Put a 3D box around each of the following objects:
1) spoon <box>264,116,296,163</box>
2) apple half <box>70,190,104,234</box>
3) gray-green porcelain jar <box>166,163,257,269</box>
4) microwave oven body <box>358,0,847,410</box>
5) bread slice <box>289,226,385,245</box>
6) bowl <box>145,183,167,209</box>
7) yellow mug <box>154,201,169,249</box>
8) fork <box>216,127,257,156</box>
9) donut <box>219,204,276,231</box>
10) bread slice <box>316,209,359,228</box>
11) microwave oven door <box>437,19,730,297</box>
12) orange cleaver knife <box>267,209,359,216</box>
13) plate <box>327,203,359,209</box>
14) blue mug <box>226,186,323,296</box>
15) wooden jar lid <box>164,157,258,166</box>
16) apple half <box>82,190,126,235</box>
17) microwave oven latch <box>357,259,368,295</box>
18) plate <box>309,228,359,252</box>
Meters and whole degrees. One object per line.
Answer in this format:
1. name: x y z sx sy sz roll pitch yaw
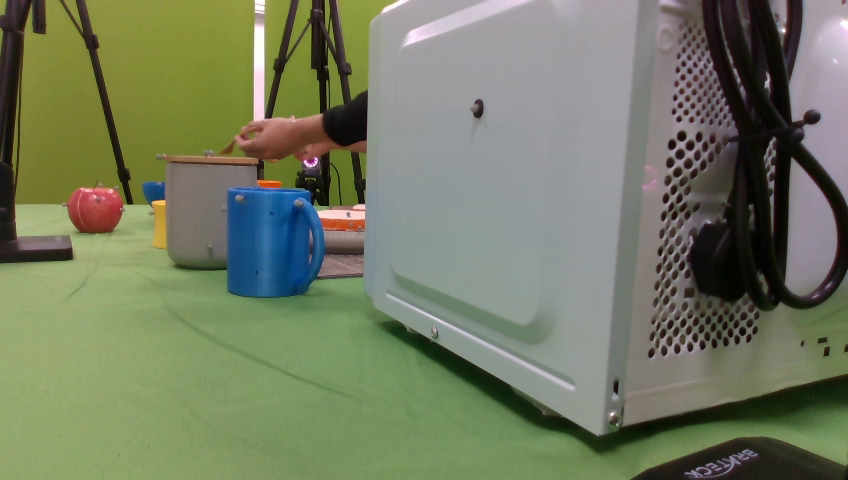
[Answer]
1. spoon: -0.342 -0.247 1.468 0.041 0.021 0.193 11 49 3
2. apple half: -0.552 -0.047 1.009 0.053 0.074 0.081 0 9 26
3. gray-green porcelain jar: -0.263 -0.031 0.754 0.106 0.126 0.106 2 7 0
4. microwave oven body: 0.210 -0.051 0.471 0.444 0.260 0.324 -1 7 -28
5. bread slice: -0.125 -0.008 0.938 0.131 0.019 0.105 5 8 31
6. bowl: -0.459 -0.068 1.175 0.151 0.077 0.151 3 8 0
7. yellow mug: -0.338 -0.022 0.899 0.130 0.064 0.100 8 9 34
8. fork: -0.393 -0.204 1.267 0.028 0.018 0.206 -6 -8 -38
9. donut: -0.315 -0.039 1.083 0.099 0.048 0.099 3 7 0
10. bread slice: -0.126 -0.034 0.934 0.134 0.018 0.107 3 10 28
11. microwave oven door: 0.180 -0.076 0.618 0.358 0.243 0.039 -2 9 -28
12. orange cleaver knife: -0.259 -0.064 1.423 0.212 0.012 0.077 -4 3 -30
13. plate: -0.102 -0.053 1.299 0.209 0.038 0.209 2 8 0
14. blue mug: -0.148 0.000 0.618 0.116 0.106 0.083 7 9 33
15. wooden jar lid: -0.261 -0.093 0.746 0.108 0.020 0.108 1 9 0
16. apple half: -0.517 -0.046 0.994 0.032 0.081 0.081 0 6 26
17. microwave oven latch: -0.019 0.031 0.529 0.079 0.029 0.030 -1 7 -27
18. plate: -0.130 -0.011 0.945 0.208 0.039 0.207 2 8 0
